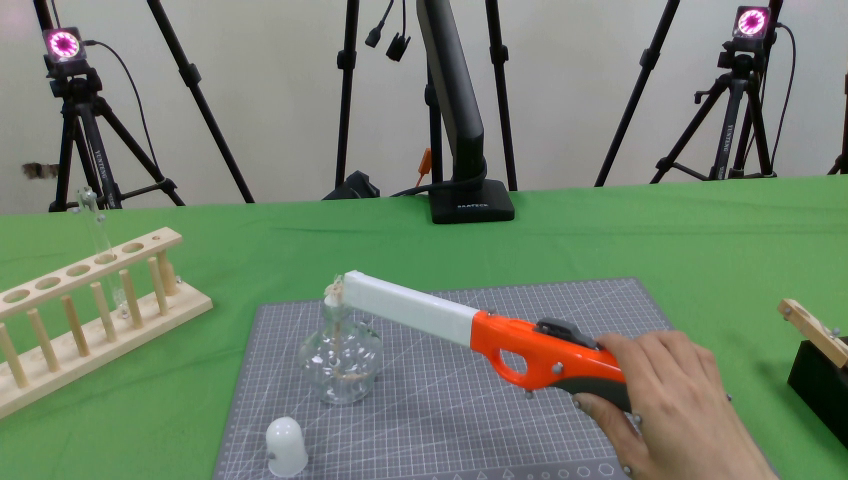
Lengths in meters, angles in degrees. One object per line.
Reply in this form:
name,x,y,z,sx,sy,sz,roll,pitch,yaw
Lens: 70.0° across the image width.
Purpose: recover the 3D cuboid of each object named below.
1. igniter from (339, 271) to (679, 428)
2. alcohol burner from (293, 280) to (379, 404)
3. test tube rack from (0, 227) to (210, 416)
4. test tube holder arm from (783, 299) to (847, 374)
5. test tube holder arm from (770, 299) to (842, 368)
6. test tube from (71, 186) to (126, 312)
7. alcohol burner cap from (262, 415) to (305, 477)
igniter,0.045,0.071,0.443,0.274,0.057,0.025,15,20,32
alcohol burner,-0.081,0.089,0.550,0.078,0.120,0.077,0,28,1
test tube rack,-0.349,0.077,0.612,0.066,0.086,0.242,22,37,35
test tube holder arm,0.359,0.106,0.511,0.013,0.015,0.176,3,29,-12
test tube holder arm,0.347,0.083,0.548,0.010,0.015,0.087,3,29,-12
test tube,-0.332,0.013,0.623,0.017,0.151,0.017,0,32,0
alcohol burner cap,-0.116,0.164,0.491,0.034,0.048,0.033,-1,30,1
